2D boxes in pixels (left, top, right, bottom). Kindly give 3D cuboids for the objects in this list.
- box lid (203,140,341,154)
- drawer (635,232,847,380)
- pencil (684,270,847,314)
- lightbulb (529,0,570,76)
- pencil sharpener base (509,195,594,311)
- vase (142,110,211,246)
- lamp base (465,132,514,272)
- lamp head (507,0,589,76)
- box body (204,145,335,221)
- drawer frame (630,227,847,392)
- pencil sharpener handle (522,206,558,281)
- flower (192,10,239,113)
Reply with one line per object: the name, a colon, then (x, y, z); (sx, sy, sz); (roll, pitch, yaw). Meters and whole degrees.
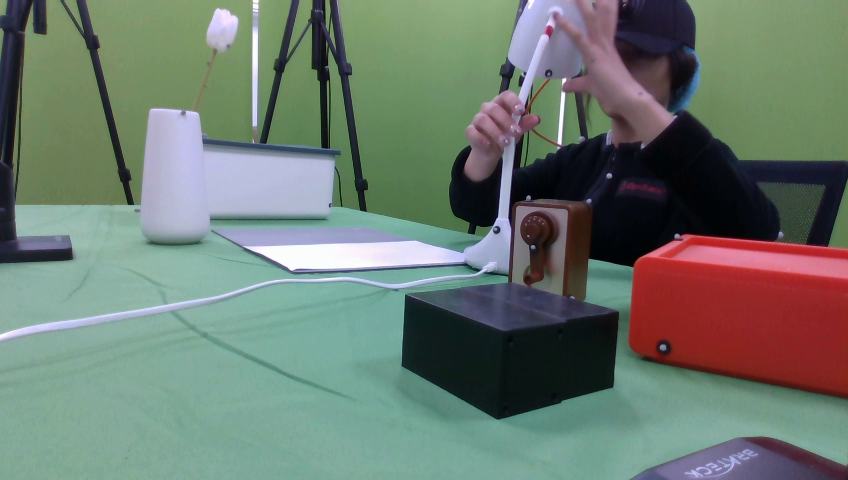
box lid: (-0.396, -0.212, 1.373); (0.373, 0.015, 0.262); (-1, 9, -29)
drawer: (0.292, 0.045, 0.488); (0.193, 0.073, 0.213); (7, 10, 30)
pencil: (0.307, 0.045, 0.516); (0.194, 0.012, 0.012); (13, 5, -11)
lightbulb: (0.185, -0.292, 0.877); (0.059, 0.108, 0.059); (0, 36, 0)
pencil sharpener base: (0.126, 0.011, 0.601); (0.061, 0.107, 0.077); (7, 9, 30)
vase: (-0.378, -0.093, 0.920); (0.098, 0.200, 0.098); (2, 9, 0)
lamp base: (0.134, -0.052, 0.808); (0.160, 0.180, 0.180); (7, 12, 27)
lamp head: (0.182, -0.307, 0.857); (0.112, 0.123, 0.112); (4, 46, -4)
box body: (-0.411, -0.135, 1.386); (0.366, 0.160, 0.253); (-2, 9, -29)
drawer frame: (0.292, 0.043, 0.484); (0.201, 0.082, 0.214); (7, 9, 29)
pencil sharpener handle: (0.102, 0.003, 0.555); (0.036, 0.067, 0.031); (0, 6, 31)
flower: (-0.354, -0.174, 0.915); (0.038, 0.361, 0.044); (18, -3, 12)
